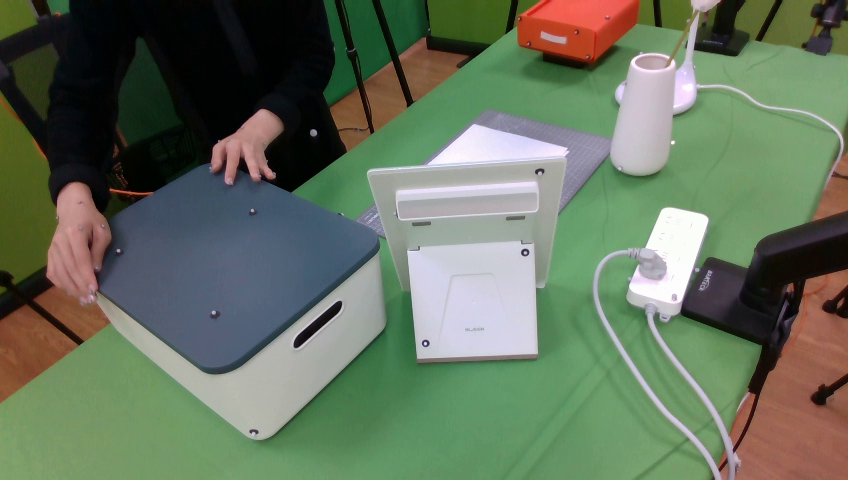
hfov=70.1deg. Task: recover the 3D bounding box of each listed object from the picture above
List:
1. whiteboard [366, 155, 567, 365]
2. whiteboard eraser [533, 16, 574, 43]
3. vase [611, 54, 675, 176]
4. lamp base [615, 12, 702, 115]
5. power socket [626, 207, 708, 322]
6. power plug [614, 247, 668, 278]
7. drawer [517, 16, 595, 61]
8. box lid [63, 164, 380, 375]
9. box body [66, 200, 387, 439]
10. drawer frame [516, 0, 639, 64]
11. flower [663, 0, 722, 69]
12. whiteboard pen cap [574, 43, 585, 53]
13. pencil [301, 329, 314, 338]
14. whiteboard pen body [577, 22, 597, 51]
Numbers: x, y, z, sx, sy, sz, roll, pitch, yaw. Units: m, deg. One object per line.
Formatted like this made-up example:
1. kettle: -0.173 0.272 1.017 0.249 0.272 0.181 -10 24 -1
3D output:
1. whiteboard: 0.059 0.049 0.738 0.217 0.307 0.143 -3 60 5
2. whiteboard eraser: 0.305 -0.493 1.422 0.055 0.042 0.113 27 43 25
3. vase: 0.377 -0.209 1.031 0.098 0.201 0.097 -3 40 3
4. lamp base: 0.484 -0.364 1.211 0.180 0.181 0.159 -15 41 -14
5. power socket: 0.359 0.025 0.886 0.072 0.033 0.227 16 46 26
6. power plug: 0.306 0.031 0.851 0.072 0.053 0.035 24 49 33
7. drawer: 0.353 -0.505 1.404 0.193 0.073 0.212 25 50 33
8. box lid: -0.263 0.012 0.774 0.368 0.015 0.264 23 49 32
9. box body: -0.257 0.068 0.824 0.361 0.161 0.255 24 49 31
10. drawer frame: 0.356 -0.507 1.410 0.200 0.083 0.214 25 51 32
11. flower: 0.379 -0.261 0.965 0.044 0.362 0.038 21 53 5
12. whiteboard pen cap: 0.346 -0.430 1.350 0.018 0.018 0.033 16 39 25
13. pencil: -0.203 0.114 0.876 0.192 0.012 0.012 22 48 38
14. whiteboard pen body: 0.373 -0.468 1.390 0.017 0.017 0.141 14 47 23
